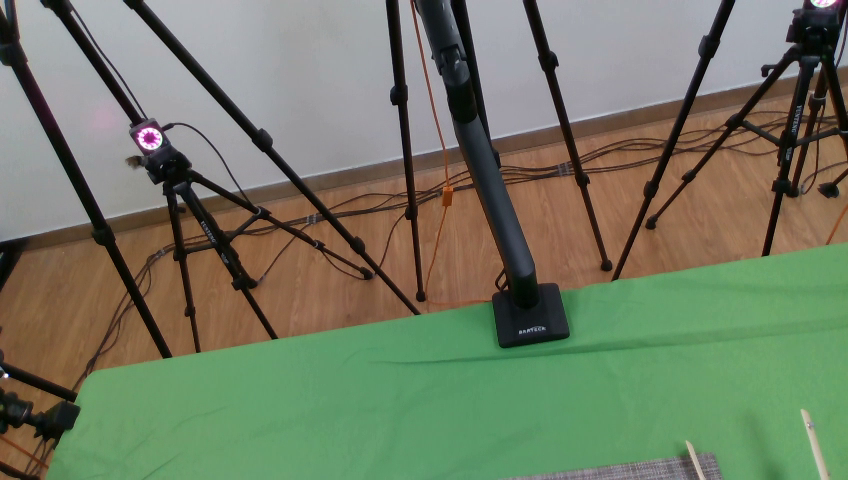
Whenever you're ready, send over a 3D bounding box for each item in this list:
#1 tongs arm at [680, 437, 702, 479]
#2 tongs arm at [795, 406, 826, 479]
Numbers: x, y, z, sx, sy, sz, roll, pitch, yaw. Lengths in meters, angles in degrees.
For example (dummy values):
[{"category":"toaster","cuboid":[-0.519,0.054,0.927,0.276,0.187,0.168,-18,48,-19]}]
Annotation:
[{"category":"tongs arm","cuboid":[0.386,0.409,0.705,0.028,0.028,0.383,-30,42,19]},{"category":"tongs arm","cuboid":[0.449,0.375,0.666,0.050,0.027,0.381,-23,46,31]}]
